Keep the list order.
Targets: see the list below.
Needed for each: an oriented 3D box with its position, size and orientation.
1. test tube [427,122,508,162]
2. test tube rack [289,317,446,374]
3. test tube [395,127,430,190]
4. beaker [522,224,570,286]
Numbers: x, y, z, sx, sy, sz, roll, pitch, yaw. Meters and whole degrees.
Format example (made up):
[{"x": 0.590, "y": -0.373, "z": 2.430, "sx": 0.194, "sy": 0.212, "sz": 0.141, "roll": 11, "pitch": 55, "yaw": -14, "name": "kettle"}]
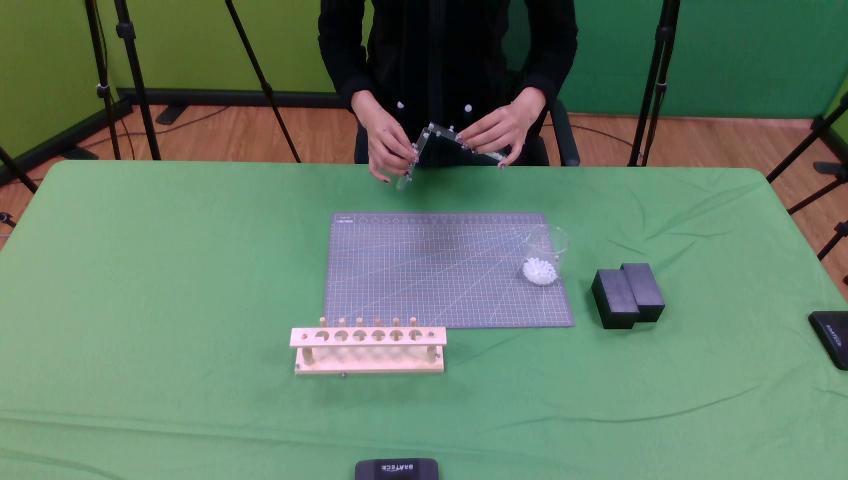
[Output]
[{"x": 0.076, "y": -0.171, "z": 1.056, "sx": 0.150, "sy": 0.017, "sz": 0.017, "roll": 23, "pitch": 48, "yaw": -1, "name": "test tube"}, {"x": -0.089, "y": 0.167, "z": 0.988, "sx": 0.242, "sy": 0.085, "sz": 0.066, "roll": 0, "pitch": 46, "yaw": -4, "name": "test tube rack"}, {"x": -0.023, "y": -0.146, "z": 1.111, "sx": 0.017, "sy": 0.151, "sz": 0.017, "roll": 15, "pitch": 45, "yaw": -16, "name": "test tube"}, {"x": 0.221, "y": 0.032, "z": 1.129, "sx": 0.084, "sy": 0.101, "sz": 0.073, "roll": -6, "pitch": 46, "yaw": -9, "name": "beaker"}]
